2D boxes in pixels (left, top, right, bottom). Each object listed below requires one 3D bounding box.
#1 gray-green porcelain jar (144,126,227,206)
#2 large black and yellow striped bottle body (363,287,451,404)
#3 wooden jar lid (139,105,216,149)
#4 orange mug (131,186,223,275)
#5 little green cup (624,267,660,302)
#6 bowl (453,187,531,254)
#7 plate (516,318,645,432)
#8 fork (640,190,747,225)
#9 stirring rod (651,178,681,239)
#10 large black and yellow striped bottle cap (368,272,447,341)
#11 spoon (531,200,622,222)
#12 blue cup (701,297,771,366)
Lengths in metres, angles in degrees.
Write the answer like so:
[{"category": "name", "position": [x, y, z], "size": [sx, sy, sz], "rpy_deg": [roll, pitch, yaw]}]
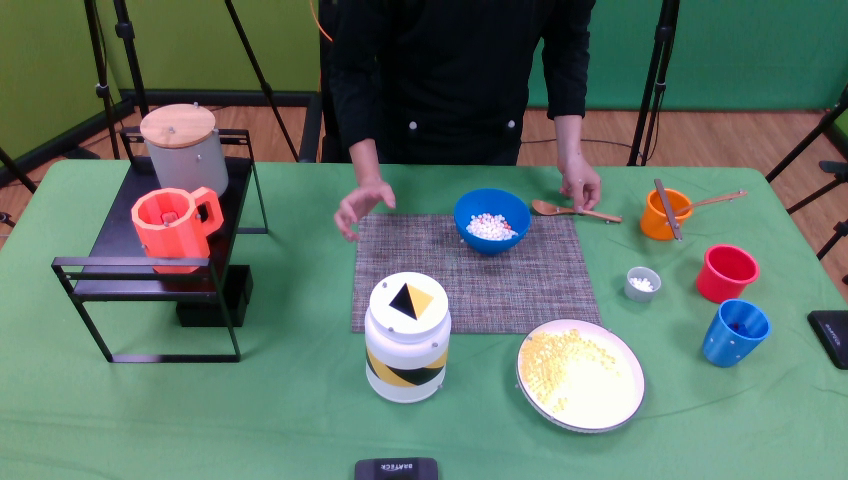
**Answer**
[{"category": "gray-green porcelain jar", "position": [-0.375, -0.125, 0.967], "size": [0.106, 0.127, 0.105], "rpy_deg": [2, 46, -2]}, {"category": "large black and yellow striped bottle body", "position": [-0.027, 0.153, 0.935], "size": [0.131, 0.185, 0.130], "rpy_deg": [2, 46, -2]}, {"category": "wooden jar lid", "position": [-0.372, -0.169, 0.920], "size": [0.108, 0.021, 0.107], "rpy_deg": [4, 43, -4]}, {"category": "orange mug", "position": [-0.354, -0.023, 0.888], "size": [0.083, 0.101, 0.126], "rpy_deg": [31, 56, 24]}, {"category": "little green cup", "position": [0.406, 0.084, 1.135], "size": [0.061, 0.039, 0.061], "rpy_deg": [3, 45, -3]}, {"category": "bowl", "position": [0.128, -0.025, 1.187], "size": [0.151, 0.077, 0.150], "rpy_deg": [2, 46, -2]}, {"category": "plate", "position": [0.253, 0.221, 0.992], "size": [0.209, 0.038, 0.208], "rpy_deg": [2, 46, -2]}, {"category": "fork", "position": [0.533, -0.065, 1.211], "size": [0.207, 0.019, 0.028], "rpy_deg": [-22, 28, 39]}, {"category": "stirring rod", "position": [0.479, -0.065, 1.204], "size": [0.014, 0.006, 0.175], "rpy_deg": [3, 46, -3]}, {"category": "large black and yellow striped bottle cap", "position": [-0.023, 0.093, 0.875], "size": [0.115, 0.019, 0.114], "rpy_deg": [3, 46, -3]}, {"category": "spoon", "position": [0.321, -0.059, 1.277], "size": [0.194, 0.022, 0.041], "rpy_deg": [8, 41, 5]}, {"category": "blue cup", "position": [0.519, 0.162, 1.025], "size": [0.093, 0.101, 0.092], "rpy_deg": [3, 45, -3]}]
